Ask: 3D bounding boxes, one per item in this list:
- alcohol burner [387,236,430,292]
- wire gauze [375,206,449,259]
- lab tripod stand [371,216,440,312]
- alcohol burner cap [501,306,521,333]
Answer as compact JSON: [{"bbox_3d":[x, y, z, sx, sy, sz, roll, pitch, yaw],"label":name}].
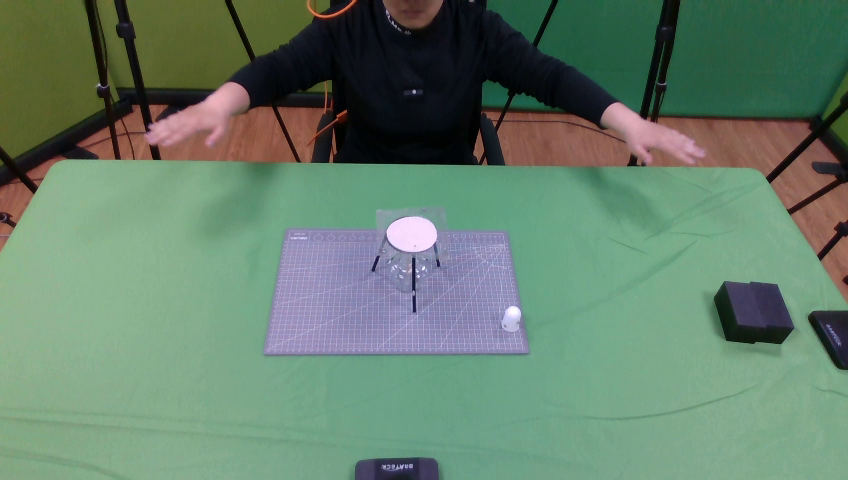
[{"bbox_3d":[-0.028,0.038,1.093,0.078,0.120,0.077,1,46,-1],"label":"alcohol burner"},{"bbox_3d":[-0.023,-0.014,1.035,0.125,0.011,0.120,-1,46,-3],"label":"wire gauze"},{"bbox_3d":[-0.029,0.033,1.084,0.148,0.132,0.147,1,47,-1],"label":"lab tripod stand"},{"bbox_3d":[0.155,0.137,1.061,0.034,0.048,0.033,1,45,-1],"label":"alcohol burner cap"}]
